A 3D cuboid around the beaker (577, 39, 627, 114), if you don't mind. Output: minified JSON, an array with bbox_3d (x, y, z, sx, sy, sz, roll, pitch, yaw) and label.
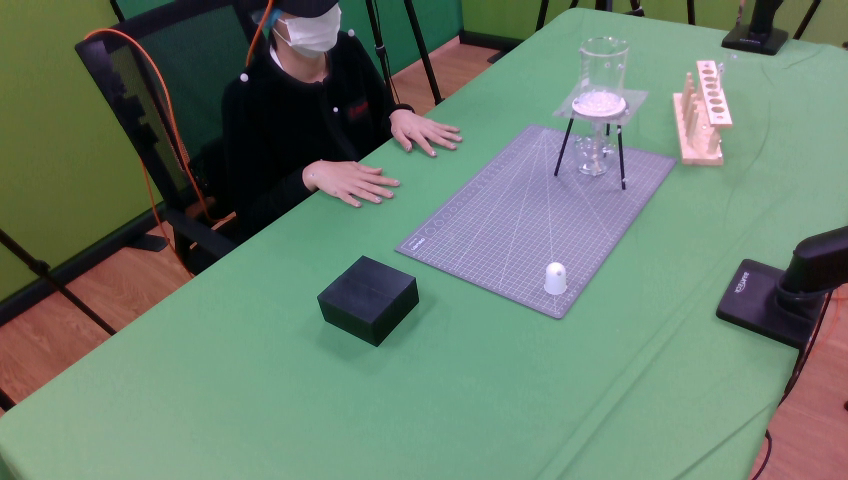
[{"bbox_3d":[0.286,-0.264,0.976,0.073,0.100,0.084,25,49,33],"label":"beaker"}]

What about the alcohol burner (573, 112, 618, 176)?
[{"bbox_3d":[0.301,-0.173,1.058,0.078,0.119,0.077,-3,41,3],"label":"alcohol burner"}]

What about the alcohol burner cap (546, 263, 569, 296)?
[{"bbox_3d":[0.191,0.053,0.862,0.034,0.048,0.033,-5,40,4],"label":"alcohol burner cap"}]

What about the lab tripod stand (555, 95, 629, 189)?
[{"bbox_3d":[0.300,-0.174,1.045,0.148,0.132,0.147,-5,38,5],"label":"lab tripod stand"}]

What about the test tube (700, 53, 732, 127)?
[{"bbox_3d":[0.521,-0.265,1.081,0.017,0.151,0.017,-3,47,3],"label":"test tube"}]

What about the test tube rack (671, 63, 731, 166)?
[{"bbox_3d":[0.513,-0.241,1.132,0.066,0.085,0.242,4,41,14],"label":"test tube rack"}]

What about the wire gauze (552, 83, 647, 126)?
[{"bbox_3d":[0.293,-0.224,1.004,0.120,0.011,0.125,19,43,26],"label":"wire gauze"}]
